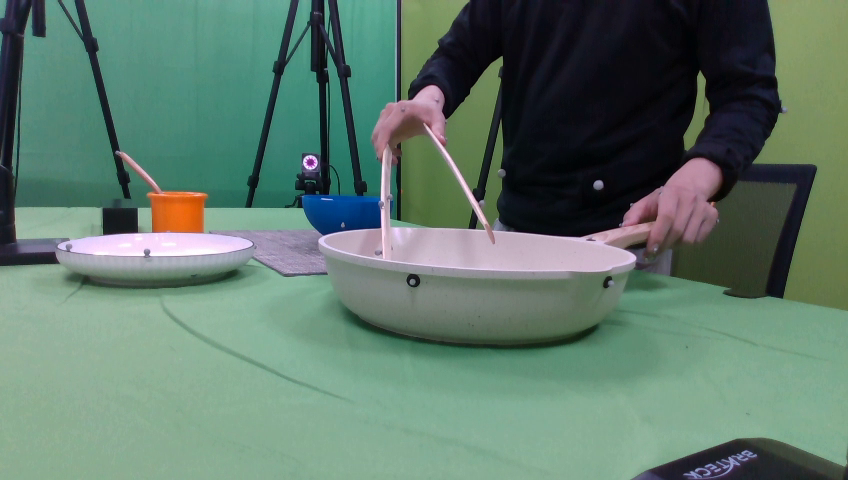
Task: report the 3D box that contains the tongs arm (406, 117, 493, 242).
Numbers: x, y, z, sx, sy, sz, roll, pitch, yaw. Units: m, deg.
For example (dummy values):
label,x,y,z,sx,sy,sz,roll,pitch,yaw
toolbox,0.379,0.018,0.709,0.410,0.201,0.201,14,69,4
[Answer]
label,x,y,z,sx,sy,sz,roll,pitch,yaw
tongs arm,0.023,-0.090,0.732,0.028,0.028,0.386,-27,28,3

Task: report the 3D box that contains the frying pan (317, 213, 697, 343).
label,x,y,z,sx,sy,sz,roll,pitch,yaw
frying pan,0.133,0.013,0.630,0.490,0.102,0.305,-12,14,-31

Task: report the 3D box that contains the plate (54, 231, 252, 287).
label,x,y,z,sx,sy,sz,roll,pitch,yaw
plate,-0.309,0.020,0.705,0.208,0.039,0.207,3,7,0

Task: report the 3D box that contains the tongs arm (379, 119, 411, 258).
label,x,y,z,sx,sy,sz,roll,pitch,yaw
tongs arm,-0.031,-0.070,0.737,0.051,0.026,0.384,-21,28,6

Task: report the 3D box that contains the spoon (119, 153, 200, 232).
label,x,y,z,sx,sy,sz,roll,pitch,yaw
spoon,-0.439,-0.077,1.001,0.021,0.193,0.042,-43,-7,22

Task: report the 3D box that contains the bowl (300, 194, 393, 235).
label,x,y,z,sx,sy,sz,roll,pitch,yaw
bowl,-0.128,-0.034,0.995,0.151,0.077,0.151,2,7,0
